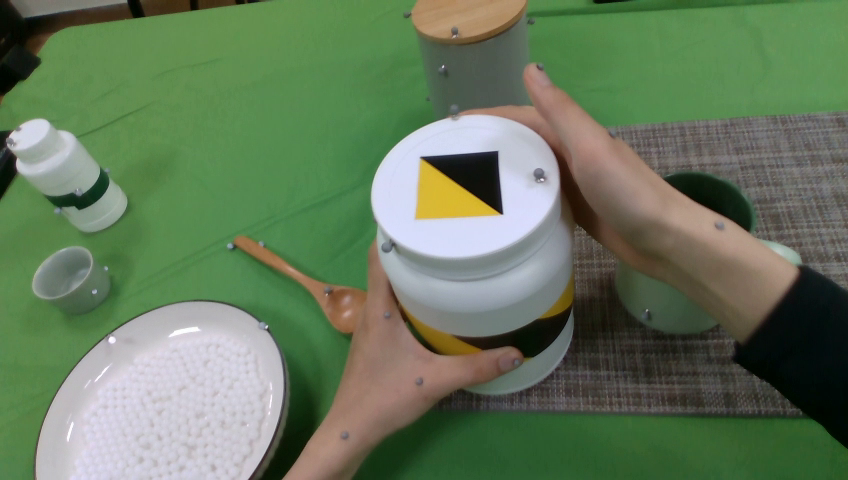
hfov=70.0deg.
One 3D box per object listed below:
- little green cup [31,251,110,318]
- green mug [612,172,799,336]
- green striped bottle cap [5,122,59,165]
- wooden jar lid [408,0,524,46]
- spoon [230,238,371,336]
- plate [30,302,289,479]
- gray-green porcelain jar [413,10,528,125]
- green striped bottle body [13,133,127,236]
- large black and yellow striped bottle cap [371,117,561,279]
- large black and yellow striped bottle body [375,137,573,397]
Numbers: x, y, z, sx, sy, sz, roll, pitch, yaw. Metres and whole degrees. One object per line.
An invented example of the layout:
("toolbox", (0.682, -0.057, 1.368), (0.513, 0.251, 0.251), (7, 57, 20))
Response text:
("little green cup", (-0.345, 0.045, 0.596), (0.061, 0.039, 0.061), (-6, 52, 8))
("green mug", (0.206, 0.017, 0.450), (0.124, 0.106, 0.092), (16, 58, 23))
("green striped bottle cap", (-0.381, -0.094, 0.590), (0.044, 0.020, 0.044), (-4, 55, 6))
("wooden jar lid", (0.039, -0.209, 0.562), (0.108, 0.021, 0.107), (-8, 51, 10))
("spoon", (-0.121, 0.035, 0.565), (0.192, 0.022, 0.041), (28, 79, 28))
("plate", (-0.206, 0.148, 0.491), (0.209, 0.038, 0.207), (-6, 53, 8))
("gray-green porcelain jar", (0.050, -0.168, 0.610), (0.106, 0.128, 0.105), (-6, 49, 7))
("green striped bottle body", (-0.372, -0.063, 0.630), (0.063, 0.120, 0.062), (-6, 53, 9))
("large black and yellow striped bottle cap", (0.024, -0.029, 0.366), (0.115, 0.019, 0.114), (-7, 54, 10))
("large black and yellow striped bottle body", (0.040, 0.019, 0.433), (0.130, 0.186, 0.129), (-6, 53, 9))
